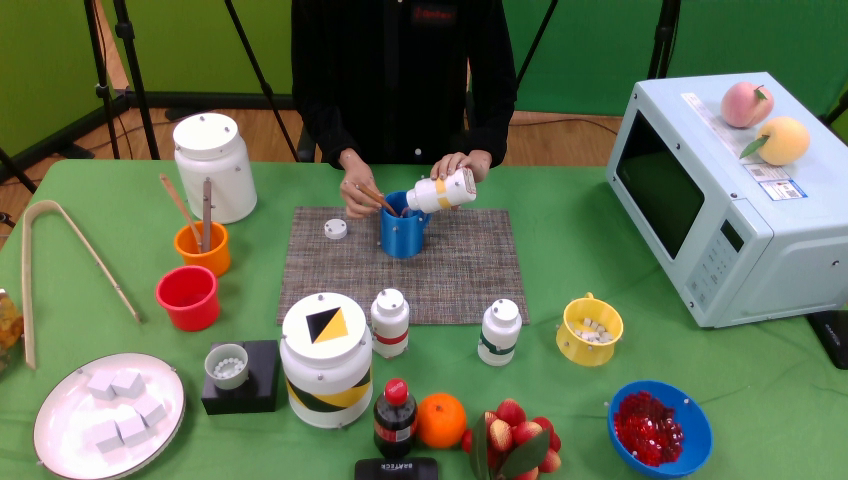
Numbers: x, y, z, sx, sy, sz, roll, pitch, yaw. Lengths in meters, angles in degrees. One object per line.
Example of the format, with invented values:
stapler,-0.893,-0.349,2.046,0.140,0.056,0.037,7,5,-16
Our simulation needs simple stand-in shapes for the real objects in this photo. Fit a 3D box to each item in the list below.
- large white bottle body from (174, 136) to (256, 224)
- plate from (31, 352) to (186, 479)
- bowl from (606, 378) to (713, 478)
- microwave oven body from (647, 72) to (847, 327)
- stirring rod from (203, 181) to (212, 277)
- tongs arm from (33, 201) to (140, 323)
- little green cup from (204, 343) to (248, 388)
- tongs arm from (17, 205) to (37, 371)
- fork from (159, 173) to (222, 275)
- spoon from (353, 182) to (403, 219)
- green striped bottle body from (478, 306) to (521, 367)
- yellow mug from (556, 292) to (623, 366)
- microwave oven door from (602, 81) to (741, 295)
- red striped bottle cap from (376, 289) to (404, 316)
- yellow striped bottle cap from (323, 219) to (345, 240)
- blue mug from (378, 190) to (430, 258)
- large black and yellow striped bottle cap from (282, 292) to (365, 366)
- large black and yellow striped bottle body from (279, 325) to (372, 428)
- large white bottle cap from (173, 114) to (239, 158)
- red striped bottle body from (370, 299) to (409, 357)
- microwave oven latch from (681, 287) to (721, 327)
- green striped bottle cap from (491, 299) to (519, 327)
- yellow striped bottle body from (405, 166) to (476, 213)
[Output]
large white bottle body,-0.408,-0.136,1.183,0.131,0.185,0.130,2,46,-2
plate,-0.459,0.262,0.898,0.209,0.038,0.208,2,46,-2
bowl,0.340,0.292,0.906,0.151,0.077,0.150,2,46,-2
microwave oven body,0.607,-0.089,1.164,0.326,0.261,0.438,-7,46,-10
stirring rod,-0.396,-0.021,1.108,0.014,0.006,0.176,-1,89,-1
tongs arm,-0.623,0.035,1.105,0.051,0.026,0.382,-33,56,-25
little green cup,-0.294,0.191,0.909,0.061,0.039,0.061,1,48,-1
tongs arm,-0.698,0.072,1.069,0.028,0.028,0.385,-21,51,-13
fork,-0.427,-0.029,1.103,0.028,0.018,0.207,-31,99,-30
spoon,-0.070,-0.059,1.124,0.021,0.195,0.041,-22,52,20
green striped bottle body,0.124,0.151,0.995,0.063,0.120,0.063,2,46,-1
yellow mug,0.285,0.145,1.051,0.100,0.064,0.130,7,45,3
microwave oven door,0.456,-0.107,1.162,0.039,0.245,0.353,-6,47,-11
red striped bottle cap,-0.055,0.098,0.959,0.044,0.018,0.044,0,48,0
yellow striped bottle cap,-0.179,-0.022,1.205,0.044,0.019,0.044,3,46,-3
blue mug,-0.033,-0.038,1.169,0.116,0.106,0.082,-31,56,-28
large black and yellow striped bottle cap,-0.138,0.121,0.841,0.115,0.019,0.114,3,47,-3
large black and yellow striped bottle body,-0.143,0.181,0.900,0.131,0.185,0.130,2,46,-2
large white bottle cap,-0.403,-0.195,1.122,0.115,0.018,0.114,2,47,-2
red striped bottle body,-0.057,0.134,0.996,0.063,0.120,0.062,2,46,-2
microwave oven latch,0.494,0.119,1.087,0.030,0.029,0.078,-6,46,-9
green striped bottle cap,0.128,0.115,0.958,0.044,0.020,0.044,1,47,-1
yellow striped bottle body,0.027,-0.086,1.091,0.120,0.063,0.062,-15,41,23
